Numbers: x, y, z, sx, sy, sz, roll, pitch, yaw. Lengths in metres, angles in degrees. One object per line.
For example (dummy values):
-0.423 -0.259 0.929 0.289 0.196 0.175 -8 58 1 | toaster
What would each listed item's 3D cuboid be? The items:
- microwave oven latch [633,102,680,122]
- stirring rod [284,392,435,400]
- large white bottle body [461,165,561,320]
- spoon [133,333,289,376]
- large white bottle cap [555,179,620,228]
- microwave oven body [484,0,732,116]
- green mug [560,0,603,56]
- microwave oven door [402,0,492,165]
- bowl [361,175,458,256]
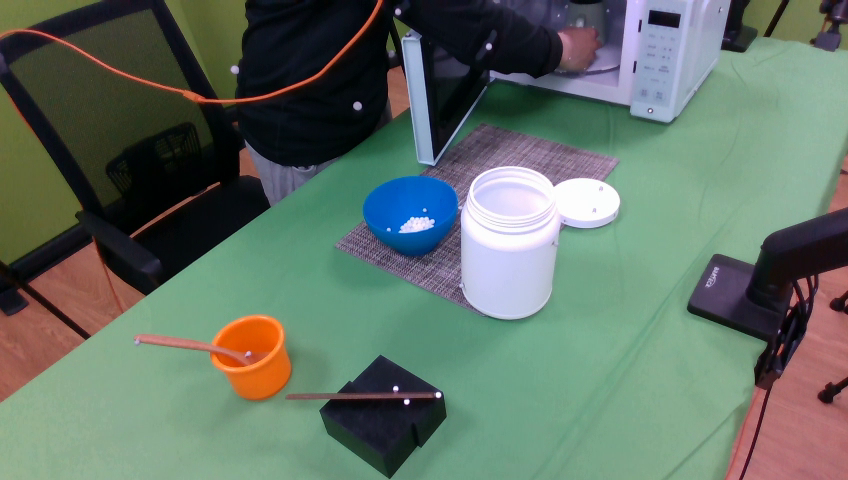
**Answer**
0.443 -0.249 1.157 0.078 0.029 0.030 21 49 30 | microwave oven latch
-0.075 0.180 0.698 0.176 0.006 0.014 -2 6 7 | stirring rod
0.115 0.004 0.816 0.130 0.185 0.130 -2 43 2 | large white bottle body
-0.257 0.137 0.747 0.021 0.195 0.041 -47 40 23 | spoon
0.265 -0.062 1.001 0.115 0.018 0.114 -3 41 3 | large white bottle cap
0.377 -0.463 1.267 0.438 0.261 0.327 21 49 30 | microwave oven body
0.333 -0.451 1.295 0.092 0.105 0.125 11 47 23 | green mug
0.056 -0.343 1.166 0.039 0.245 0.356 10 44 20 | microwave oven door
-0.019 -0.028 0.955 0.151 0.077 0.150 -4 40 4 | bowl
